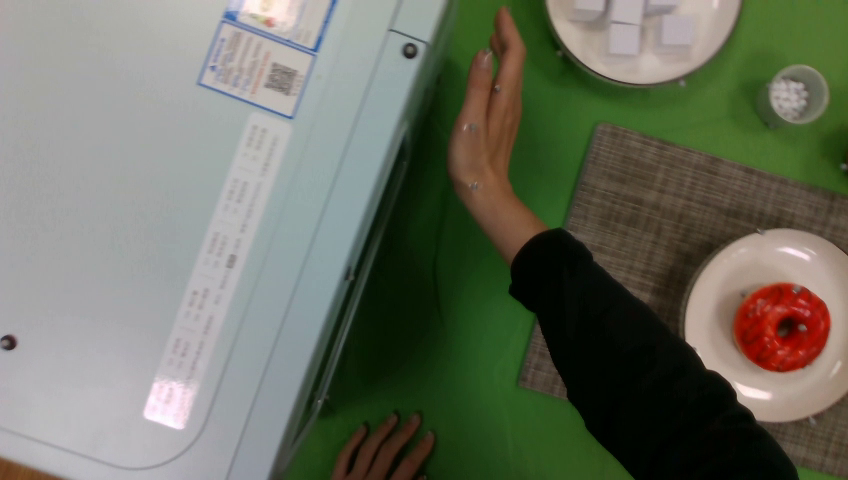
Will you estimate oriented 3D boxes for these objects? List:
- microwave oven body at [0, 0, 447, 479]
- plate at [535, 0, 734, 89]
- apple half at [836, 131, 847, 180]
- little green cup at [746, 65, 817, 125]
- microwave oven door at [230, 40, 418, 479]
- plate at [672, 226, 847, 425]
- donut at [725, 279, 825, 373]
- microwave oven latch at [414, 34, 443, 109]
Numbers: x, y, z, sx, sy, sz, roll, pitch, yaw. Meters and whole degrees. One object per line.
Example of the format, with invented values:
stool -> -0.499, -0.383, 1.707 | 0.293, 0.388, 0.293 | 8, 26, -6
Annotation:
microwave oven body -> -0.202, -0.057, 0.522 | 0.326, 0.260, 0.441 | 19, 91, -2
plate -> 0.218, -0.261, 0.641 | 0.208, 0.039, 0.207 | 0, 91, -1
apple half -> 0.466, -0.089, 0.633 | 0.053, 0.074, 0.081 | -10, 95, 4
little green cup -> 0.379, -0.152, 0.647 | 0.061, 0.038, 0.061 | 0, 90, -1
microwave oven door -> -0.079, 0.032, 0.522 | 0.039, 0.243, 0.355 | 19, 90, -1
plate -> 0.365, 0.089, 0.648 | 0.209, 0.038, 0.209 | 0, 91, -1
donut -> 0.367, 0.090, 0.637 | 0.099, 0.048, 0.099 | 0, 92, 1
microwave oven latch -> -0.005, -0.176, 0.619 | 0.030, 0.029, 0.079 | 21, 91, -2
